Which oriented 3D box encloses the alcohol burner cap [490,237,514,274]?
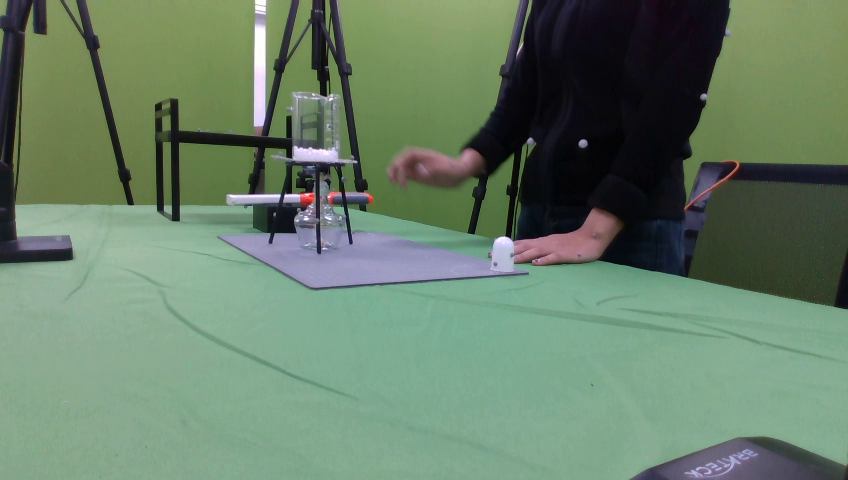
[{"bbox_3d":[0.104,0.020,0.793,0.034,0.048,0.034,2,6,0],"label":"alcohol burner cap"}]

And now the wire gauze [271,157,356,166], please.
[{"bbox_3d":[-0.167,-0.120,0.917,0.125,0.011,0.121,-2,6,-8],"label":"wire gauze"}]

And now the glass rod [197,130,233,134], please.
[{"bbox_3d":[-0.450,-0.232,1.294,0.008,0.008,0.198,-4,10,-40],"label":"glass rod"}]

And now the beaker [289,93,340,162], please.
[{"bbox_3d":[-0.162,-0.167,0.908,0.074,0.100,0.083,-4,10,-31],"label":"beaker"}]

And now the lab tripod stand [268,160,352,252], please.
[{"bbox_3d":[-0.171,-0.055,0.921,0.148,0.131,0.148,1,9,0],"label":"lab tripod stand"}]

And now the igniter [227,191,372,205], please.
[{"bbox_3d":[-0.232,-0.080,1.161,0.278,0.025,0.057,-3,12,-29],"label":"igniter"}]

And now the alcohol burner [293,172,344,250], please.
[{"bbox_3d":[-0.159,-0.045,0.921,0.078,0.119,0.078,5,7,0],"label":"alcohol burner"}]
